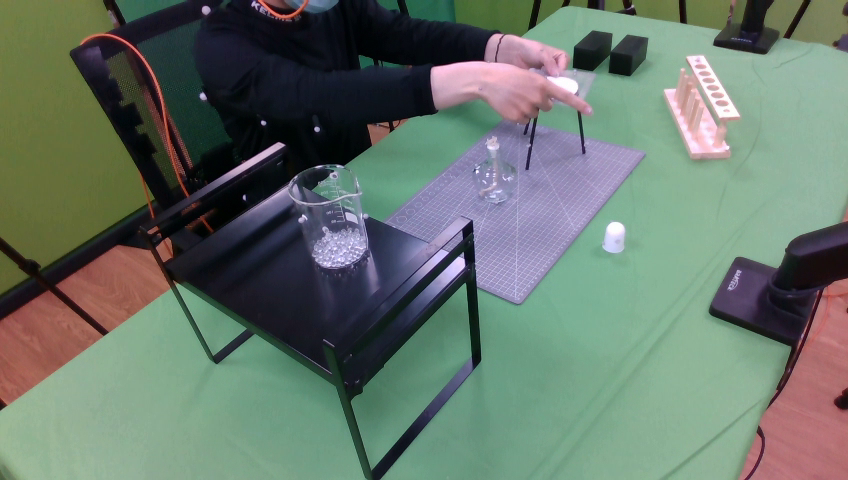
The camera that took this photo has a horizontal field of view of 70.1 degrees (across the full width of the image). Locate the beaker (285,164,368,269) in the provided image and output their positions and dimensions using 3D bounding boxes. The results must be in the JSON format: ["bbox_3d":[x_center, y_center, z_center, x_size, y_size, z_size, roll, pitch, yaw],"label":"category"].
[{"bbox_3d":[-0.101,-0.024,0.676,0.083,0.101,0.074,8,43,17],"label":"beaker"}]

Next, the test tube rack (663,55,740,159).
[{"bbox_3d":[0.518,-0.256,1.144,0.066,0.085,0.241,-1,41,8],"label":"test tube rack"}]

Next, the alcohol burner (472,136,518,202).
[{"bbox_3d":[0.121,-0.124,1.023,0.078,0.119,0.077,-2,42,3],"label":"alcohol burner"}]

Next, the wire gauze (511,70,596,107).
[{"bbox_3d":[0.225,-0.269,1.051,0.124,0.011,0.121,13,42,23],"label":"wire gauze"}]

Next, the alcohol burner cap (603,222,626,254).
[{"bbox_3d":[0.291,-0.006,0.921,0.034,0.048,0.033,-4,40,4],"label":"alcohol burner cap"}]

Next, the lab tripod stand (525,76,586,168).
[{"bbox_3d":[0.224,-0.219,1.094,0.148,0.132,0.147,-3,40,3],"label":"lab tripod stand"}]
